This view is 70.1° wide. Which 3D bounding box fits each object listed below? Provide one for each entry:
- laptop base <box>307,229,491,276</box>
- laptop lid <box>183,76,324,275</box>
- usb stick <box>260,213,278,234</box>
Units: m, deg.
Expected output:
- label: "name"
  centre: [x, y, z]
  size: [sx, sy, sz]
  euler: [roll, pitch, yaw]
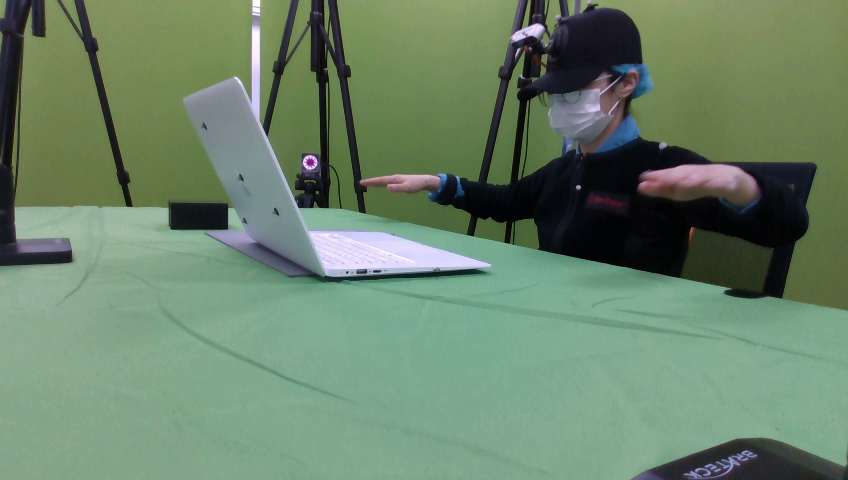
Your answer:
- label: "laptop base"
  centre: [-0.094, 0.015, 0.888]
  size: [0.237, 0.023, 0.352]
  euler: [2, 7, -30]
- label: "laptop lid"
  centre: [-0.237, -0.085, 0.791]
  size: [0.013, 0.242, 0.355]
  euler: [-30, 23, -23]
- label: "usb stick"
  centre: [-0.260, -0.025, 1.016]
  size: [0.021, 0.027, 0.059]
  euler: [1, 19, -27]
